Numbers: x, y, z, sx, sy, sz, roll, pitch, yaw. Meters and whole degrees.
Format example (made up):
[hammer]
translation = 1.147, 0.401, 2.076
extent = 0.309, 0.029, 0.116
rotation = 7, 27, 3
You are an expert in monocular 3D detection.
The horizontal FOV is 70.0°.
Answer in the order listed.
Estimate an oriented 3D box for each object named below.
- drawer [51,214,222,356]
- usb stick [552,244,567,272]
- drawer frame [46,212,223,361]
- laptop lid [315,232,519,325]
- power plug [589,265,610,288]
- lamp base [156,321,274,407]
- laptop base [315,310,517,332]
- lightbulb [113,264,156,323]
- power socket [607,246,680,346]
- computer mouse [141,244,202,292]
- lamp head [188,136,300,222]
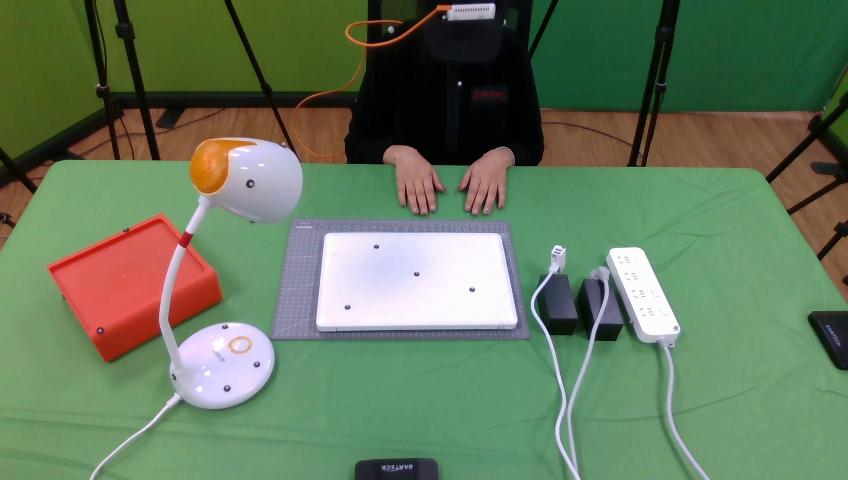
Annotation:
[drawer]
translation = -0.495, 0.071, 1.053
extent = 0.212, 0.073, 0.193
rotation = -32, 57, -29
[usb stick]
translation = 0.251, 0.039, 1.124
extent = 0.021, 0.059, 0.027
rotation = 14, 47, 25
[drawer frame]
translation = -0.495, 0.073, 1.049
extent = 0.213, 0.083, 0.200
rotation = -33, 56, -29
[laptop lid]
translation = -0.015, 0.065, 1.118
extent = 0.357, 0.013, 0.240
rotation = 1, 43, -3
[power plug]
translation = 0.317, 0.073, 1.108
extent = 0.035, 0.053, 0.072
rotation = 26, 33, 13
[lamp base]
translation = -0.328, 0.151, 0.916
extent = 0.160, 0.181, 0.179
rotation = 29, 53, 22
[laptop base]
translation = -0.016, 0.075, 1.125
extent = 0.355, 0.023, 0.234
rotation = 0, 42, -4
[lightbulb]
translation = -0.494, 0.091, 1.045
extent = 0.059, 0.060, 0.107
rotation = 9, 62, 5
[power socket]
translation = 0.403, 0.096, 1.123
extent = 0.072, 0.033, 0.225
rotation = -2, 46, -5
[computer mouse]
translation = -0.460, 0.044, 1.099
extent = 0.116, 0.041, 0.063
rotation = 29, 52, 29
[lamp head]
translation = -0.240, -0.081, 0.773
extent = 0.112, 0.112, 0.123
rotation = 35, 15, 26
